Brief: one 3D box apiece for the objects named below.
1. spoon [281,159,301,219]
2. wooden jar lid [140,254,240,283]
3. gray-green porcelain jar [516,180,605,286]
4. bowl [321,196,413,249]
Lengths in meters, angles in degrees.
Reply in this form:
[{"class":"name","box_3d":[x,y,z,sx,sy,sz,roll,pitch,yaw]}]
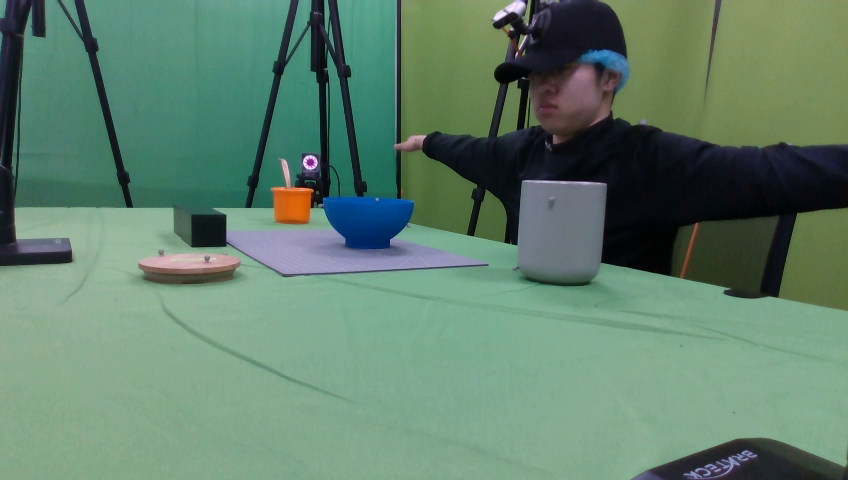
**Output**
[{"class":"spoon","box_3d":[-0.307,-0.117,1.368,0.042,0.193,0.021,1,-37,-23]},{"class":"wooden jar lid","box_3d":[-0.269,0.032,0.698,0.108,0.020,0.108,2,5,0]},{"class":"gray-green porcelain jar","box_3d":[0.172,-0.010,0.768,0.106,0.126,0.106,2,7,0]},{"class":"bowl","box_3d":[-0.094,-0.029,0.992,0.151,0.077,0.151,3,7,0]}]
